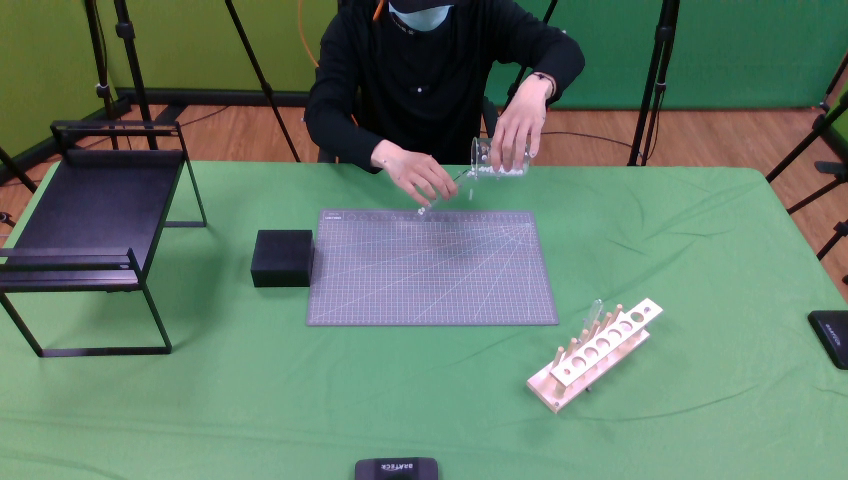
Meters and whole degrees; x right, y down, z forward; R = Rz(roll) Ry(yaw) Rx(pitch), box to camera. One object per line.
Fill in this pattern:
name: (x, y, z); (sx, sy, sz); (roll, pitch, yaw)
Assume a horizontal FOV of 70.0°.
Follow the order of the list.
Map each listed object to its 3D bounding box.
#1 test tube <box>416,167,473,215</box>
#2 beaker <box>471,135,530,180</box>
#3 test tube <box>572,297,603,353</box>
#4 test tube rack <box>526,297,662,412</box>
test tube: (0.037, -0.093, 1.179); (0.017, 0.150, 0.017); (32, 38, -29)
beaker: (0.140, -0.152, 1.120); (0.100, 0.084, 0.073); (0, 17, -3)
test tube: (0.263, 0.141, 0.977); (0.017, 0.151, 0.017); (2, 47, -2)
test tube rack: (0.284, 0.176, 1.007); (0.242, 0.085, 0.066); (-29, 54, -27)
